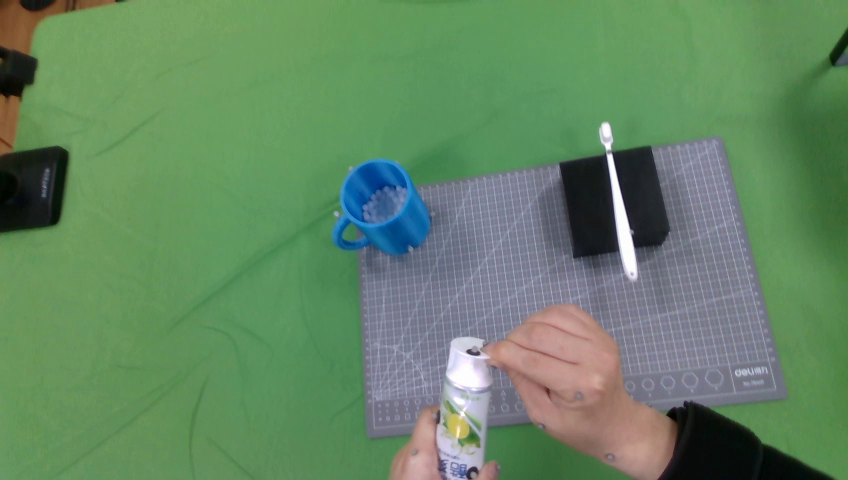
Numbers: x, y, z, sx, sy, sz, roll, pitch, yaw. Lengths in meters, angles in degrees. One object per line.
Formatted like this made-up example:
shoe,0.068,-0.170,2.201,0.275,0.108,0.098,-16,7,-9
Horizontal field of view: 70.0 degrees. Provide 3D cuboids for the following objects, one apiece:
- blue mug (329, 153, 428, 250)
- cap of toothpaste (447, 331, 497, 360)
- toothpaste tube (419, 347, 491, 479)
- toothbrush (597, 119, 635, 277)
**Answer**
blue mug,-0.058,-0.033,0.709,0.116,0.106,0.081,-35,70,0
cap of toothpaste,0.034,0.077,0.436,0.037,0.037,0.011,10,101,15
toothpaste tube,0.022,0.153,0.455,0.054,0.034,0.165,15,104,30
toothbrush,0.208,-0.049,0.655,0.014,0.017,0.180,-6,73,3
